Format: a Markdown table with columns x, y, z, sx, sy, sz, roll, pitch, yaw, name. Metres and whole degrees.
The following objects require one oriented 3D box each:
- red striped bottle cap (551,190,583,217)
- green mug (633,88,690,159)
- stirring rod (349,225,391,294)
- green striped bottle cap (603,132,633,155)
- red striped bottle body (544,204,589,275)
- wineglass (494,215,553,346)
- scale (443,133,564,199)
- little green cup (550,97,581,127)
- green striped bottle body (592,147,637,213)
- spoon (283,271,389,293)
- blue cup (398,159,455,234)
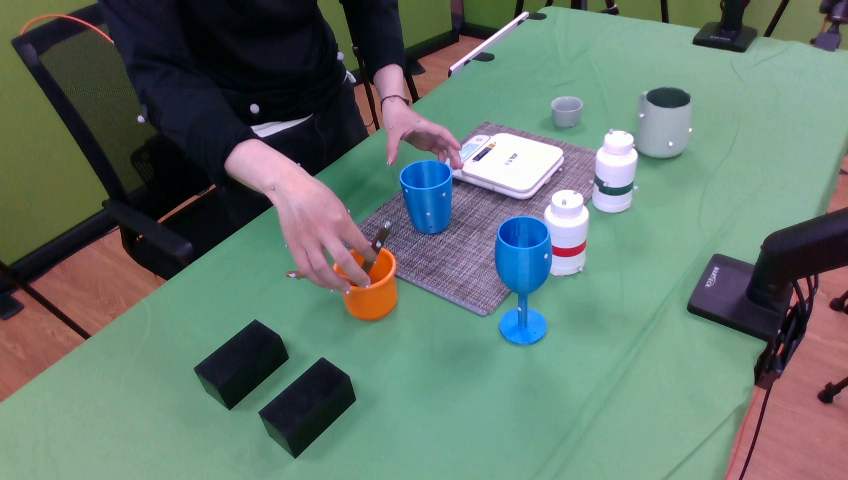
| x | y | z | sx | sy | sz | roll | pitch | yaw | name |
| --- | --- | --- | --- | --- | --- | --- | --- | --- | --- |
| 0.200 | -0.052 | 0.843 | 0.044 | 0.018 | 0.044 | -2 | 42 | 3 | red striped bottle cap |
| 0.423 | -0.217 | 1.099 | 0.093 | 0.105 | 0.124 | -16 | 41 | -9 | green mug |
| -0.072 | 0.029 | 0.779 | 0.014 | 0.176 | 0.006 | -6 | 61 | -24 | stirring rod |
| 0.301 | -0.149 | 0.938 | 0.044 | 0.020 | 0.044 | -3 | 39 | 3 | green striped bottle cap |
| 0.206 | -0.011 | 0.877 | 0.063 | 0.120 | 0.062 | -5 | 41 | 4 | red striped bottle body |
| 0.127 | 0.055 | 0.770 | 0.074 | 0.173 | 0.073 | -4 | 40 | 4 | wineglass |
| 0.137 | -0.142 | 1.101 | 0.199 | 0.032 | 0.149 | 22 | 48 | 30 | scale |
| 0.284 | -0.255 | 1.213 | 0.061 | 0.039 | 0.061 | -5 | 41 | 5 | little green cup |
| 0.307 | -0.107 | 0.976 | 0.063 | 0.120 | 0.063 | -4 | 41 | 4 | green striped bottle body |
| -0.116 | 0.054 | 0.824 | 0.041 | 0.195 | 0.021 | 22 | 92 | 37 | spoon |
| 0.006 | -0.065 | 0.976 | 0.092 | 0.100 | 0.092 | -4 | 40 | 4 | blue cup |
